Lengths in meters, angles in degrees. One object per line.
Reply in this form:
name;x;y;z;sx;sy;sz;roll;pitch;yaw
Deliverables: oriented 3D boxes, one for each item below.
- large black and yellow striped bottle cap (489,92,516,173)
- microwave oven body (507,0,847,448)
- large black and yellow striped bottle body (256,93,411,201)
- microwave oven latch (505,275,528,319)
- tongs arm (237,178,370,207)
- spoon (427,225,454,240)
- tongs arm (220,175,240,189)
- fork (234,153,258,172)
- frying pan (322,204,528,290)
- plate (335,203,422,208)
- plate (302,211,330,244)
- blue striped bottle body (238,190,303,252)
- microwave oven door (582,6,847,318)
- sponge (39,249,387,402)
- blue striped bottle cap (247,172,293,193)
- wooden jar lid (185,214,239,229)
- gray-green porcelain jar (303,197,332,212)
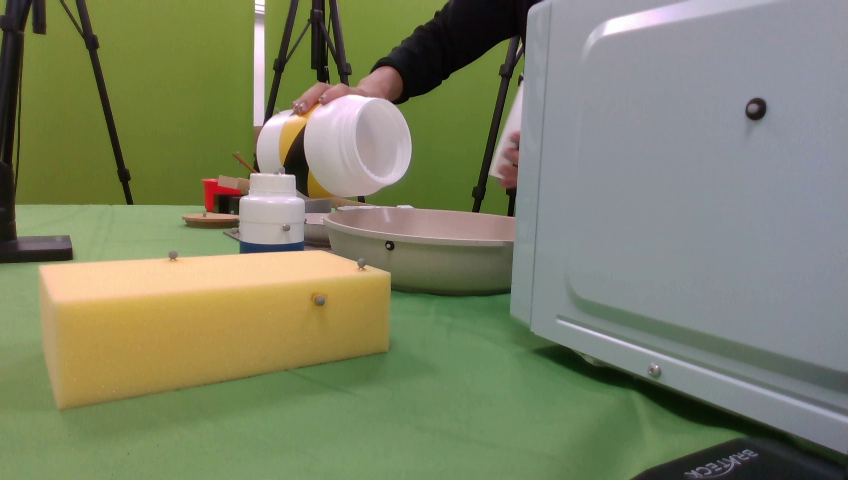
large black and yellow striped bottle cap;0.104;-0.134;0.711;0.019;0.115;0.115;19;9;3
microwave oven body;0.331;-0.042;0.425;0.444;0.260;0.324;-2;8;-31
large black and yellow striped bottle body;-0.121;-0.123;0.812;0.183;0.130;0.131;-3;3;40
microwave oven latch;0.100;0.042;0.471;0.079;0.029;0.030;-1;7;-28
tongs arm;-0.241;-0.095;1.374;0.387;0.026;0.050;9;1;-37
spoon;0.024;-0.019;1.125;0.042;0.021;0.193;-15;9;-5
tongs arm;-0.284;-0.105;1.445;0.389;0.027;0.028;10;-3;-23
fork;-0.396;-0.143;1.486;0.028;0.018;0.208;20;-26;45
frying pan;0.109;-0.017;0.800;0.490;0.102;0.305;-12;16;-30
plate;-0.089;-0.053;1.309;0.208;0.039;0.207;2;8;0
plate;-0.139;-0.022;1.021;0.209;0.038;0.209;2;8;0
blue striped bottle body;-0.153;-0.007;0.606;0.063;0.120;0.063;2;7;0
microwave oven door;0.295;-0.067;0.569;0.358;0.243;0.039;-3;8;-31
sponge;-0.142;0.047;0.420;0.208;0.061;0.117;-3;8;-36
blue striped bottle cap;-0.152;-0.057;0.598;0.044;0.020;0.044;3;6;0
wooden jar lid;-0.404;-0.037;1.169;0.108;0.020;0.108;3;7;0
gray-green porcelain jar;-0.238;-0.092;1.221;0.106;0.126;0.106;2;7;0
